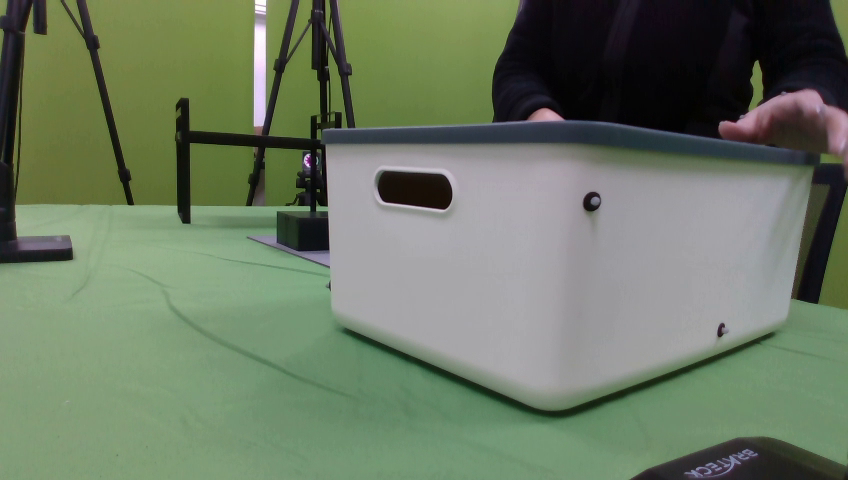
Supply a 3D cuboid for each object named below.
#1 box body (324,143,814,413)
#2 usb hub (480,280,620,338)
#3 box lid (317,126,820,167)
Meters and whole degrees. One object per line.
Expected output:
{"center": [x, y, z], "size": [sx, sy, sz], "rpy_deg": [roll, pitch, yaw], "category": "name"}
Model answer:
{"center": [0.125, -0.001, 0.510], "size": [0.366, 0.160, 0.253], "rpy_deg": [-4, 10, -40], "category": "box body"}
{"center": [0.111, 0.057, 0.525], "size": [0.126, 0.025, 0.049], "rpy_deg": [-5, 13, -35], "category": "usb hub"}
{"center": [0.129, -0.073, 0.502], "size": [0.374, 0.015, 0.262], "rpy_deg": [-4, 10, -40], "category": "box lid"}
